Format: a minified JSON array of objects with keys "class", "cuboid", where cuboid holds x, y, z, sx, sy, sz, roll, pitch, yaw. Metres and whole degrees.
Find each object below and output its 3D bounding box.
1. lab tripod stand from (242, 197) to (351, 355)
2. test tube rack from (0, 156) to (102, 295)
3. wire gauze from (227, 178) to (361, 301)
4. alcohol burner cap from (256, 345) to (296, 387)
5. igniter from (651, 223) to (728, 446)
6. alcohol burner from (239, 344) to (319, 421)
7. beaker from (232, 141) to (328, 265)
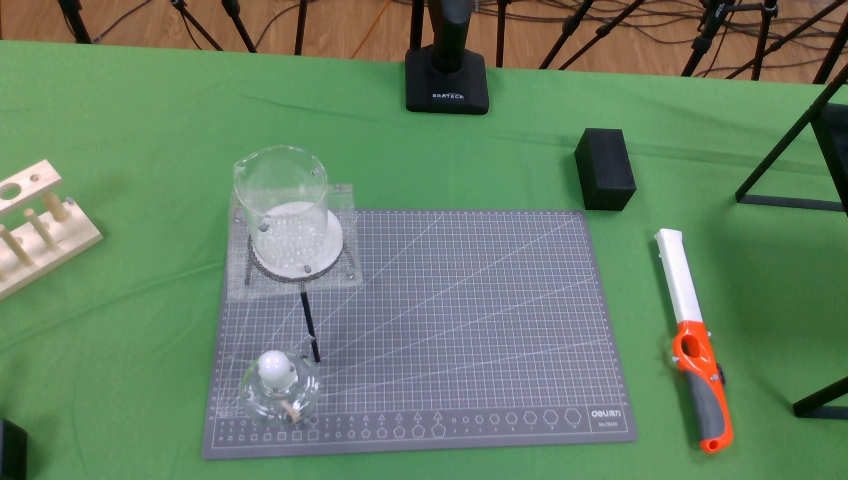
[{"class":"lab tripod stand","cuboid":[-0.130,0.032,0.635,0.149,0.132,0.147,4,59,-6]},{"class":"test tube rack","cuboid":[-0.481,0.018,0.632,0.242,0.086,0.066,-38,70,-25]},{"class":"wire gauze","cuboid":[-0.127,-0.006,0.582,0.122,0.011,0.124,-5,64,-8]},{"class":"alcohol burner cap","cuboid":[-0.137,0.114,0.555,0.034,0.048,0.033,1,64,-2]},{"class":"igniter","cuboid":[0.309,0.101,0.713,0.057,0.025,0.274,8,58,-14]},{"class":"alcohol burner","cuboid":[-0.141,0.132,0.586,0.078,0.120,0.077,4,58,-6]},{"class":"beaker","cuboid":[-0.126,-0.029,0.538,0.084,0.101,0.073,22,59,6]}]
